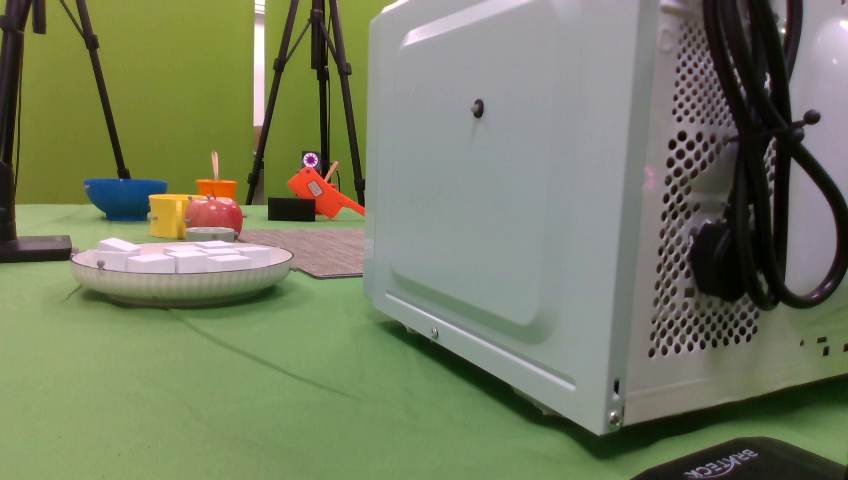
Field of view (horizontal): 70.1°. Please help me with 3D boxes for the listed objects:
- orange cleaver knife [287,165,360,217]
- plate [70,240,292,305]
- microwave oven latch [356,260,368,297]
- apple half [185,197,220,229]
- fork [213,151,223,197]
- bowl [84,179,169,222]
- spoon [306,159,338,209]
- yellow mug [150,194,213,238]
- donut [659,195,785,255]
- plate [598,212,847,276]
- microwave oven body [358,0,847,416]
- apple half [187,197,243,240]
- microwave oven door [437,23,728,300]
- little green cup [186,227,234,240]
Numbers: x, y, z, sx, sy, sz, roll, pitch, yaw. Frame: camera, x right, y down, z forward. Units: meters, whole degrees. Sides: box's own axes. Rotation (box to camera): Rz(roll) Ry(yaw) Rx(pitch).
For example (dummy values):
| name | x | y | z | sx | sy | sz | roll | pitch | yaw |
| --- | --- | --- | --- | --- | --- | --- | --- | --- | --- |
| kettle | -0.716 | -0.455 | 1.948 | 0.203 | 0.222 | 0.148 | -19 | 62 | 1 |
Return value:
| name | x | y | z | sx | sy | sz | roll | pitch | yaw |
| --- | --- | --- | --- | --- | --- | --- | --- | --- | --- |
| orange cleaver knife | -0.211 | -0.093 | 1.382 | 0.212 | 0.077 | 0.012 | 33 | 1 | -15 |
| plate | -0.242 | 0.031 | 0.618 | 0.208 | 0.039 | 0.207 | 2 | 8 | 0 |
| microwave oven latch | -0.020 | 0.033 | 0.531 | 0.079 | 0.029 | 0.030 | -1 | 7 | -27 |
| apple half | -0.338 | -0.031 | 0.927 | 0.032 | 0.081 | 0.081 | 12 | 12 | 31 |
| fork | -0.494 | -0.143 | 1.442 | 0.028 | 0.018 | 0.206 | -2 | 52 | -20 |
| bowl | -0.584 | -0.078 | 1.194 | 0.151 | 0.077 | 0.151 | 3 | 8 | 0 |
| spoon | -0.257 | -0.147 | 1.567 | 0.041 | 0.022 | 0.193 | 1 | 50 | 20 |
| yellow mug | -0.401 | -0.040 | 1.003 | 0.100 | 0.064 | 0.130 | -1 | 9 | -20 |
| donut | 0.252 | -0.012 | 0.517 | 0.099 | 0.048 | 0.099 | 4 | 8 | 0 |
| plate | 0.255 | 0.001 | 0.518 | 0.209 | 0.038 | 0.209 | 2 | 6 | 0 |
| microwave oven body | 0.211 | -0.047 | 0.475 | 0.444 | 0.260 | 0.324 | -1 | 8 | -28 |
| apple half | -0.305 | -0.026 | 0.907 | 0.053 | 0.074 | 0.081 | 12 | 8 | 31 |
| microwave oven door | 0.180 | -0.072 | 0.621 | 0.358 | 0.243 | 0.039 | -2 | 8 | -29 |
| little green cup | -0.285 | 0.005 | 0.805 | 0.061 | 0.038 | 0.061 | 2 | 8 | 0 |
